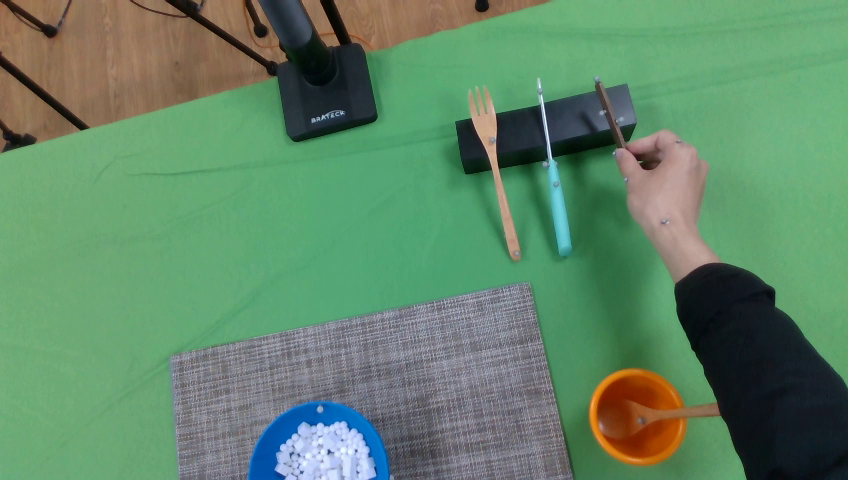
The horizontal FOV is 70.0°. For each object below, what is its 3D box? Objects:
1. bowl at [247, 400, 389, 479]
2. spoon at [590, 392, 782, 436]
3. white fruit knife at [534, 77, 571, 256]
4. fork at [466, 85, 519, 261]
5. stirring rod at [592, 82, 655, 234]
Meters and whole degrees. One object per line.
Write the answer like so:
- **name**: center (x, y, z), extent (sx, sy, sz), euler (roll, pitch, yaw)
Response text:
- **bowl**: center (-0.104, 0.249, 0.655), extent (0.151, 0.077, 0.150), euler (-2, 77, 9)
- **spoon**: center (0.244, 0.166, 0.587), extent (0.193, 0.022, 0.041), euler (-26, 68, 49)
- **white fruit knife**: center (0.144, -0.083, 0.693), extent (0.016, 0.027, 0.207), euler (-10, 92, 3)
- **fork**: center (0.082, -0.075, 0.701), extent (0.028, 0.018, 0.207), euler (-14, 95, 2)
- **stirring rod**: center (0.217, -0.088, 0.659), extent (0.006, 0.014, 0.176), euler (-22, 94, -9)
